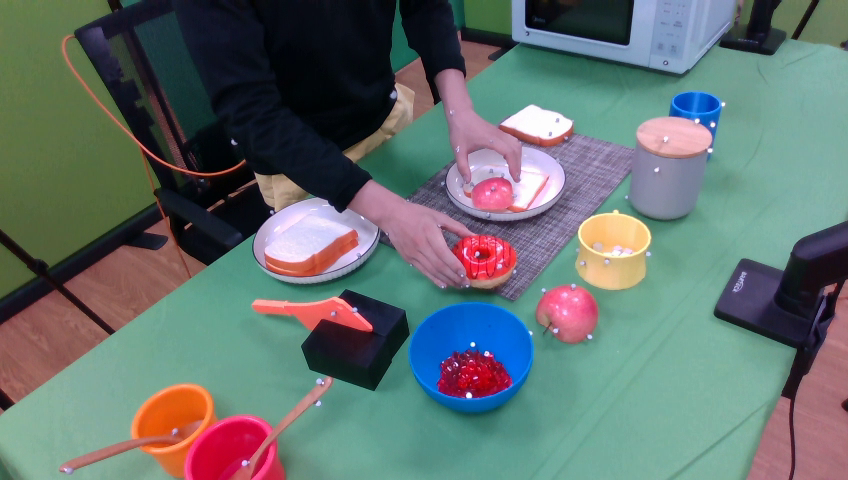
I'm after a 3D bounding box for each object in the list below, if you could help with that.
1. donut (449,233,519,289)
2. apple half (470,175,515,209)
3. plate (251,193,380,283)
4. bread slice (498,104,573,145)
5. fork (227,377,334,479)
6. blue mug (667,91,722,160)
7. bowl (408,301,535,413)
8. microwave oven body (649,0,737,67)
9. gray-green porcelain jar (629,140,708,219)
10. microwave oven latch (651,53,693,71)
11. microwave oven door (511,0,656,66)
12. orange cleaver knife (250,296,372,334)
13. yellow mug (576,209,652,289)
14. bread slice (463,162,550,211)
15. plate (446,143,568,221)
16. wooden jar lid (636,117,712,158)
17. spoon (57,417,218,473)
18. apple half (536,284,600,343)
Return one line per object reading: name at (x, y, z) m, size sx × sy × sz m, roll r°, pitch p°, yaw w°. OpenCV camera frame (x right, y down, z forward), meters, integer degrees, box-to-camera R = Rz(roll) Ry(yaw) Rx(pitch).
donut at (0.086, 0.029, 0.864) m, size 0.099 × 0.048 × 0.098 m, roll -4°, pitch 42°, yaw 4°
apple half at (0.114, -0.086, 1.004) m, size 0.081 × 0.033 × 0.081 m, roll -3°, pitch 43°, yaw 4°
plate at (-0.173, -0.001, 0.985) m, size 0.209 × 0.038 × 0.208 m, roll -4°, pitch 41°, yaw 4°
bread slice at (0.231, -0.231, 1.205) m, size 0.105 × 0.019 × 0.130 m, roll -36°, pitch 47°, yaw -29°
fork at (-0.162, 0.216, 0.647) m, size 0.207 × 0.019 × 0.028 m, roll -49°, pitch 41°, yaw 16°
blue mug at (0.473, -0.207, 1.079) m, size 0.082 × 0.106 × 0.116 m, roll 4°, pitch 42°, yaw 13°
bowl at (0.060, 0.156, 0.739) m, size 0.151 × 0.077 × 0.150 m, roll -4°, pitch 40°, yaw 4°
microwave oven body at (0.475, -0.602, 1.411) m, size 0.438 × 0.261 × 0.327 m, roll 23°, pitch 50°, yaw 32°
gray-green porcelain jar at (0.383, -0.105, 0.958) m, size 0.106 × 0.127 × 0.105 m, roll -4°, pitch 41°, yaw 4°
microwave oven latch at (0.532, -0.386, 1.301) m, size 0.078 × 0.029 × 0.030 m, roll 27°, pitch 52°, yaw 34°
microwave oven door at (0.351, -0.539, 1.348) m, size 0.353 × 0.245 × 0.039 m, roll 24°, pitch 50°, yaw 31°
orange cleaver knife at (-0.158, 0.103, 0.828) m, size 0.210 × 0.078 × 0.012 m, roll -4°, pitch 43°, yaw 39°
yellow mug at (0.279, 0.004, 0.893) m, size 0.099 × 0.064 × 0.130 m, roll 5°, pitch 42°, yaw 14°
bread slice at (0.136, -0.095, 1.045) m, size 0.133 × 0.018 × 0.107 m, roll 14°, pitch 45°, yaw 24°
plate at (0.142, -0.097, 1.045) m, size 0.207 × 0.039 × 0.206 m, roll -4°, pitch 41°, yaw 4°
wooden jar lid at (0.377, -0.151, 0.917) m, size 0.108 × 0.021 × 0.108 m, roll -2°, pitch 41°, yaw 3°
spoon at (-0.304, 0.221, 0.661) m, size 0.041 × 0.195 × 0.021 m, roll 19°, pitch 92°, yaw 27°
apple half at (0.196, 0.091, 0.815) m, size 0.075 × 0.053 × 0.080 m, roll -22°, pitch 42°, yaw -20°
